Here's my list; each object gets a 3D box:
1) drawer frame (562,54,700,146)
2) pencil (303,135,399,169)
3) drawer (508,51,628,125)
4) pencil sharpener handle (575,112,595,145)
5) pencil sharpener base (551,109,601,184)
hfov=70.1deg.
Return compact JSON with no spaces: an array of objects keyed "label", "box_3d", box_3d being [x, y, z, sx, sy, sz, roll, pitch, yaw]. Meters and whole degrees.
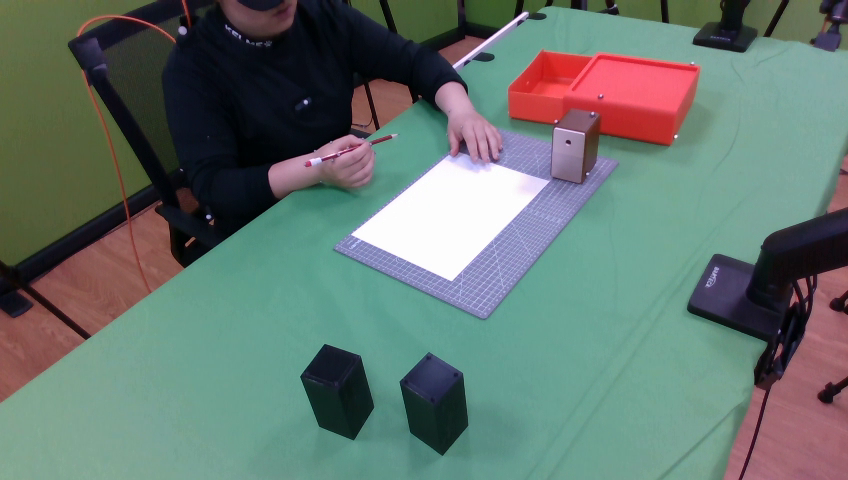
[{"label":"drawer frame","box_3d":[0.407,-0.282,1.195,0.212,0.083,0.202,17,45,25]},{"label":"pencil","box_3d":[-0.123,-0.157,1.055,0.195,0.012,0.012,-24,42,-30]},{"label":"drawer","box_3d":[0.304,-0.309,1.246,0.210,0.073,0.195,16,45,25]},{"label":"pencil sharpener handle","box_3d":[0.290,-0.203,1.077,0.036,0.068,0.031,20,47,25]},{"label":"pencil sharpener base","box_3d":[0.265,-0.163,1.053,0.061,0.107,0.077,17,46,27]}]
